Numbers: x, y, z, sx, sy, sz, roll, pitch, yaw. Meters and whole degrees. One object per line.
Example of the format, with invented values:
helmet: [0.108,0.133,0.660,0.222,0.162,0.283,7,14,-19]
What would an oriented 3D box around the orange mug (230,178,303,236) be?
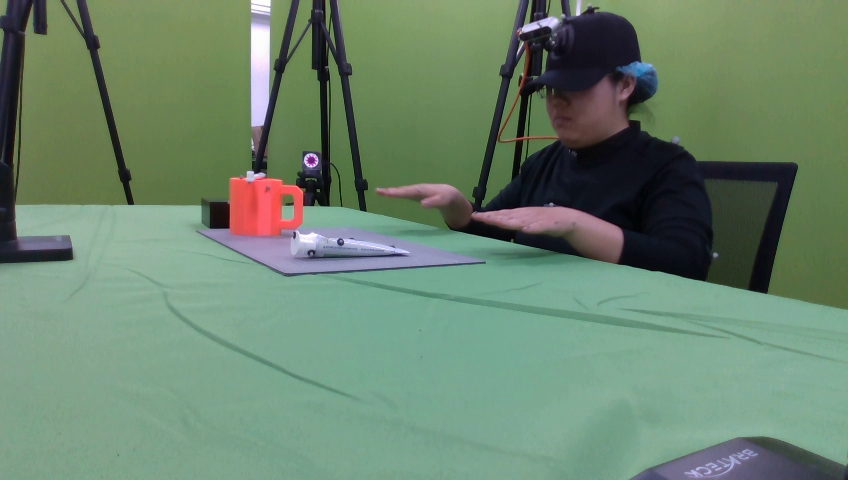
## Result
orange mug: [-0.275,-0.060,1.058,0.126,0.101,0.083,-2,8,-5]

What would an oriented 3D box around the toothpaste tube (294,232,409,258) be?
toothpaste tube: [-0.103,0.010,0.853,0.166,0.034,0.055,3,11,-34]

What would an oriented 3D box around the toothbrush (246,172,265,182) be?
toothbrush: [-0.292,-0.112,1.050,0.014,0.016,0.181,-4,8,-8]

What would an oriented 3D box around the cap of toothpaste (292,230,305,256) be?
cap of toothpaste: [-0.169,0.005,0.812,0.011,0.037,0.037,6,4,-30]
